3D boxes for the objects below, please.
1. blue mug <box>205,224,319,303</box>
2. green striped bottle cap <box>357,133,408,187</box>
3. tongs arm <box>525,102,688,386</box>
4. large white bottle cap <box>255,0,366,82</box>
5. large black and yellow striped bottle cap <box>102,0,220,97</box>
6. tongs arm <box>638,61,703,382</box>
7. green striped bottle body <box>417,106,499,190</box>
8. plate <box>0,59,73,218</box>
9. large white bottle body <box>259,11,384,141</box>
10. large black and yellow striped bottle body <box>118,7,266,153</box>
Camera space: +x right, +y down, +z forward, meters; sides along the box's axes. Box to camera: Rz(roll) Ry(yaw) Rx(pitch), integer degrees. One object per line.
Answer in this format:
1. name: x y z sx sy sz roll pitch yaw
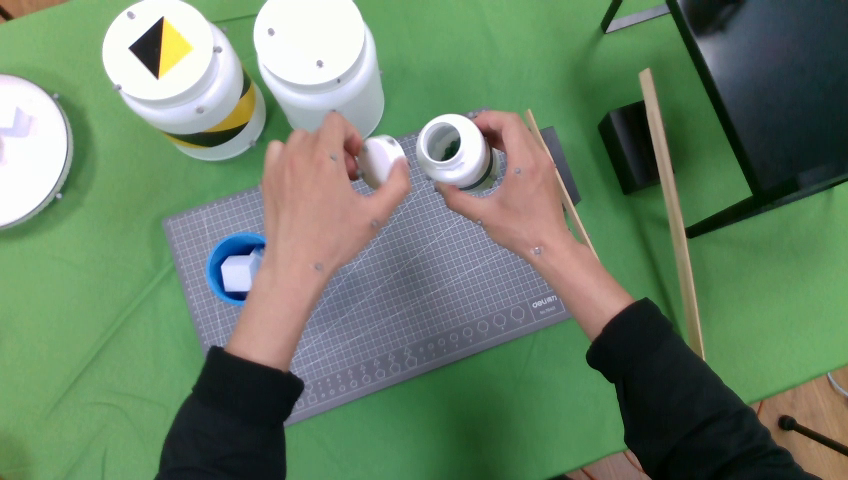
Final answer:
1. blue mug: -0.183 0.027 0.715 0.116 0.106 0.082 -12 81 -3
2. green striped bottle cap: -0.035 -0.068 0.516 0.020 0.044 0.044 -26 79 -48
3. tongs arm: 0.219 0.006 0.725 0.051 0.026 0.385 -24 94 -7
4. large white bottle cap: -0.117 -0.221 0.631 0.115 0.018 0.114 0 81 -1
5. large black and yellow striped bottle cap: -0.272 -0.205 0.628 0.115 0.019 0.114 0 82 -2
6. tongs arm: 0.296 -0.021 0.733 0.028 0.027 0.387 -11 93 -11
7. green striped bottle body: 0.032 -0.087 0.577 0.063 0.120 0.063 -1 86 15
8. plate: -0.548 -0.125 0.771 0.208 0.039 0.207 0 82 -1
9. large white bottle body: -0.117 -0.206 0.714 0.130 0.185 0.130 0 80 -1
10. large black and yellow striped bottle body: -0.272 -0.190 0.710 0.131 0.184 0.130 0 80 0
